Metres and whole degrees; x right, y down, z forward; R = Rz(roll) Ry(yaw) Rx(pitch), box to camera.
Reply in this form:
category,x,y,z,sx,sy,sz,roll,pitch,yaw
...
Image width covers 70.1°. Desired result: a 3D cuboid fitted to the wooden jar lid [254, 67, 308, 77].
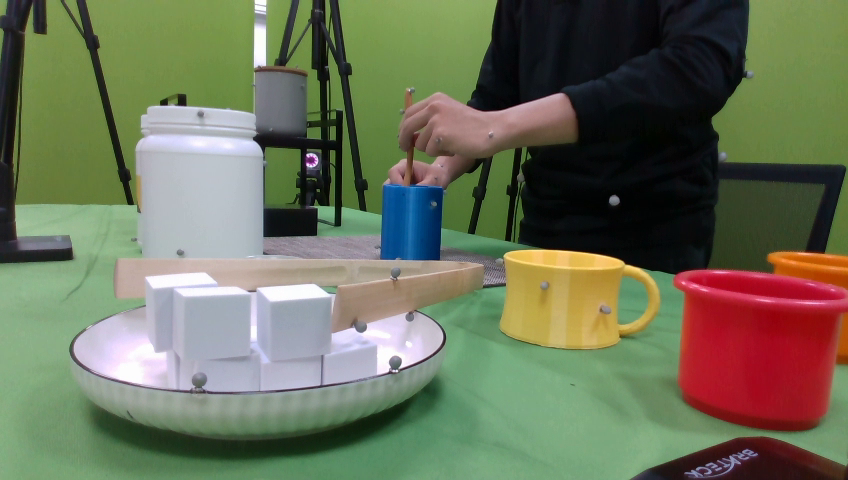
category,x,y,z,sx,sy,sz,roll,pitch,yaw
wooden jar lid,-0.296,-0.339,1.251,0.108,0.020,0.108,1,7,0

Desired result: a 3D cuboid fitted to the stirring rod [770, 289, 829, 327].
category,x,y,z,sx,sy,sz,roll,pitch,yaw
stirring rod,0.349,0.022,0.468,0.014,0.006,0.175,-12,-26,-50

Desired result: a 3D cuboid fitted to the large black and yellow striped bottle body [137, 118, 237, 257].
category,x,y,z,sx,sy,sz,roll,pitch,yaw
large black and yellow striped bottle body,-0.330,-0.075,0.849,0.131,0.184,0.130,2,8,0

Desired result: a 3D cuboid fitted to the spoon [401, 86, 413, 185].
category,x,y,z,sx,sy,sz,roll,pitch,yaw
spoon,-0.024,-0.104,0.798,0.022,0.193,0.041,2,3,-26

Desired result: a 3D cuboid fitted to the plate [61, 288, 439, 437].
category,x,y,z,sx,sy,sz,roll,pitch,yaw
plate,-0.095,0.069,0.362,0.208,0.039,0.207,3,7,0

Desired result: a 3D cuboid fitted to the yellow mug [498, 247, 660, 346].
category,x,y,z,sx,sy,sz,roll,pitch,yaw
yellow mug,0.130,0.045,0.508,0.131,0.064,0.100,4,7,6

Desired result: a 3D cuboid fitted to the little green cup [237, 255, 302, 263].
category,x,y,z,sx,sy,sz,roll,pitch,yaw
little green cup,-0.150,0.038,0.590,0.061,0.038,0.061,3,6,0

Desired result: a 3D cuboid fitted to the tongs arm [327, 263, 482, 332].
category,x,y,z,sx,sy,sz,roll,pitch,yaw
tongs arm,-0.003,0.036,0.493,0.050,0.026,0.386,1,0,19

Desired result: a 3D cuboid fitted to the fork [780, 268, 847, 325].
category,x,y,z,sx,sy,sz,roll,pitch,yaw
fork,0.324,0.018,0.441,0.028,0.018,0.207,-3,-36,-5

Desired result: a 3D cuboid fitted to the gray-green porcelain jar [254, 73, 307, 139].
category,x,y,z,sx,sy,sz,roll,pitch,yaw
gray-green porcelain jar,-0.298,-0.277,1.259,0.106,0.126,0.106,3,8,0

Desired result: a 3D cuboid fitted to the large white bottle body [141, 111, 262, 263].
category,x,y,z,sx,sy,sz,roll,pitch,yaw
large white bottle body,-0.254,-0.053,0.697,0.131,0.184,0.130,2,7,0

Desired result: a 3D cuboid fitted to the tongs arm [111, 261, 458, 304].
category,x,y,z,sx,sy,sz,roll,pitch,yaw
tongs arm,-0.080,0.032,0.527,0.028,0.027,0.389,-3,-3,33

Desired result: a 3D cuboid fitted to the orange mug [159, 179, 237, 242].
category,x,y,z,sx,sy,sz,roll,pitch,yaw
orange mug,-0.368,-0.051,0.991,0.127,0.101,0.083,-10,14,-41

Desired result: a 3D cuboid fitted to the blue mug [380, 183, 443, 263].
category,x,y,z,sx,sy,sz,roll,pitch,yaw
blue mug,-0.019,-0.025,0.833,0.082,0.106,0.116,1,6,-6

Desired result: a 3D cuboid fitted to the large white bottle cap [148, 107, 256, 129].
category,x,y,z,sx,sy,sz,roll,pitch,yaw
large white bottle cap,-0.250,-0.137,0.686,0.115,0.018,0.115,3,8,0

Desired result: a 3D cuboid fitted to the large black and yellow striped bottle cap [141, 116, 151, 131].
category,x,y,z,sx,sy,sz,roll,pitch,yaw
large black and yellow striped bottle cap,-0.328,-0.158,0.837,0.115,0.019,0.115,2,6,0
